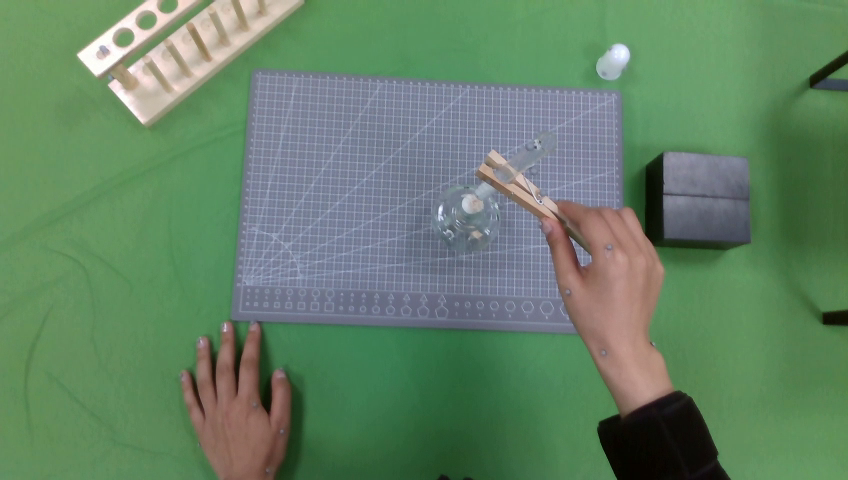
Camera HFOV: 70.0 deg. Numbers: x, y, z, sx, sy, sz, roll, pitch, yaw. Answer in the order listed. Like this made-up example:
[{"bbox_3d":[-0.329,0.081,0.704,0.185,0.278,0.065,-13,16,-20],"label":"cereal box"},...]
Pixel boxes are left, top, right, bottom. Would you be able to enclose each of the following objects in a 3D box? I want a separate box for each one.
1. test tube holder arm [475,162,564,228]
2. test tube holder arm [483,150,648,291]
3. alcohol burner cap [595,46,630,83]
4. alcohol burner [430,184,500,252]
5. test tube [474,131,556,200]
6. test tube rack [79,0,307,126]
[{"bbox_3d":[0.083,-0.038,0.517,0.088,0.015,0.010,32,78,-5],"label":"test tube holder arm"},{"bbox_3d":[0.122,-0.016,0.521,0.178,0.015,0.013,38,78,-3],"label":"test tube holder arm"},{"bbox_3d":[0.232,-0.216,0.739,0.034,0.048,0.033,1,79,-3],"label":"alcohol burner cap"},{"bbox_3d":[0.047,-0.028,0.656,0.078,0.119,0.077,1,78,-5],"label":"alcohol burner"},{"bbox_3d":[0.070,-0.057,0.500,0.017,0.150,0.017,3,79,-13],"label":"test tube"},{"bbox_3d":[-0.253,-0.243,0.690,0.242,0.085,0.066,-42,84,-9],"label":"test tube rack"}]
